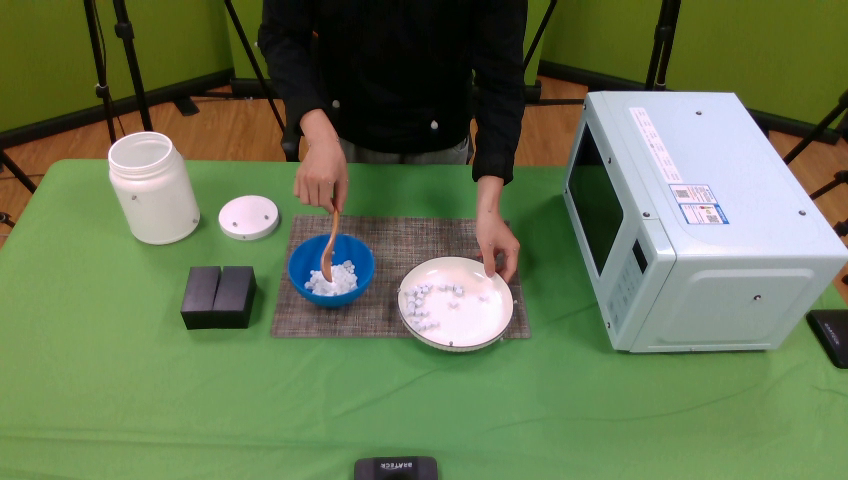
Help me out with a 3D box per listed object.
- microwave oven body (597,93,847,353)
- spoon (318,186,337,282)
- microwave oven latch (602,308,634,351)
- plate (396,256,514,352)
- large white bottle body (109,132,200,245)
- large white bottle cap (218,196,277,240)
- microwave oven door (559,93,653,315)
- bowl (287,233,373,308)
[{"bbox_3d":[0.475,-0.041,1.109,0.326,0.261,0.438,-1,45,-4],"label":"microwave oven body"},{"bbox_3d":[-0.168,-0.014,1.069,0.021,0.042,0.192,-21,58,34],"label":"spoon"},{"bbox_3d":[0.332,0.153,1.044,0.030,0.029,0.078,-1,45,-4],"label":"microwave oven latch"},{"bbox_3d":[0.053,0.116,1.077,0.209,0.038,0.208,2,46,-2],"label":"plate"},{"bbox_3d":[-0.506,-0.097,1.141,0.131,0.185,0.130,2,46,-2],"label":"large white bottle body"},{"bbox_3d":[-0.355,-0.045,1.220,0.115,0.018,0.114,1,45,-1],"label":"large white bottle cap"},{"bbox_3d":[0.327,-0.074,1.123,0.039,0.245,0.353,-1,46,-5],"label":"microwave oven door"},{"bbox_3d":[-0.165,0.068,1.078,0.151,0.077,0.150,3,46,-2],"label":"bowl"}]
